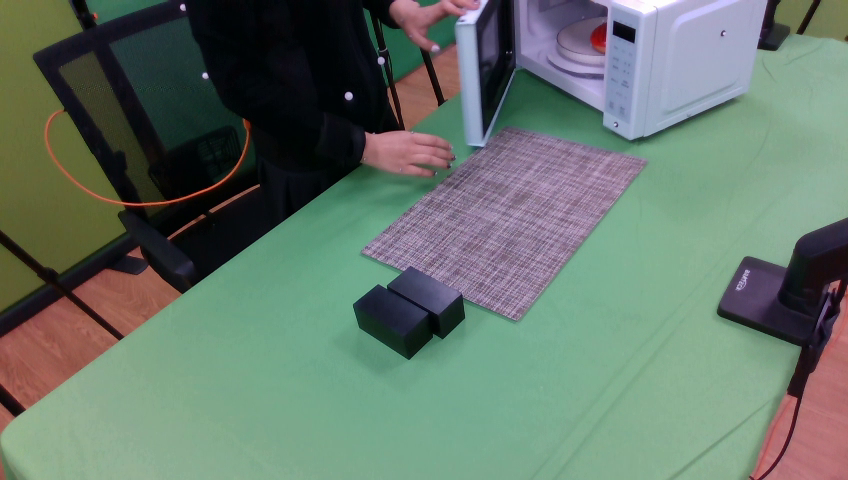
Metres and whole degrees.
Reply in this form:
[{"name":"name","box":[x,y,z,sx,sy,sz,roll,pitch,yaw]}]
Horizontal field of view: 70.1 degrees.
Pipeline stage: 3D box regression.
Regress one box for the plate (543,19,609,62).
[{"name":"plate","box":[0.359,-0.424,1.294,0.209,0.038,0.208,-1,36,2]}]

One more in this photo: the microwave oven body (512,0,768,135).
[{"name":"microwave oven body","box":[0.410,-0.441,1.235,0.327,0.261,0.437,-25,42,-16]}]

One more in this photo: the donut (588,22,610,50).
[{"name":"donut","box":[0.401,-0.429,1.293,0.099,0.048,0.098,4,48,-4]}]

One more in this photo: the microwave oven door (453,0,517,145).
[{"name":"microwave oven door","box":[0.132,-0.389,1.220,0.039,0.245,0.355,6,43,18]}]

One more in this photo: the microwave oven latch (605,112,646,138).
[{"name":"microwave oven latch","box":[0.375,-0.217,1.130,0.030,0.029,0.078,-24,42,-16]}]
